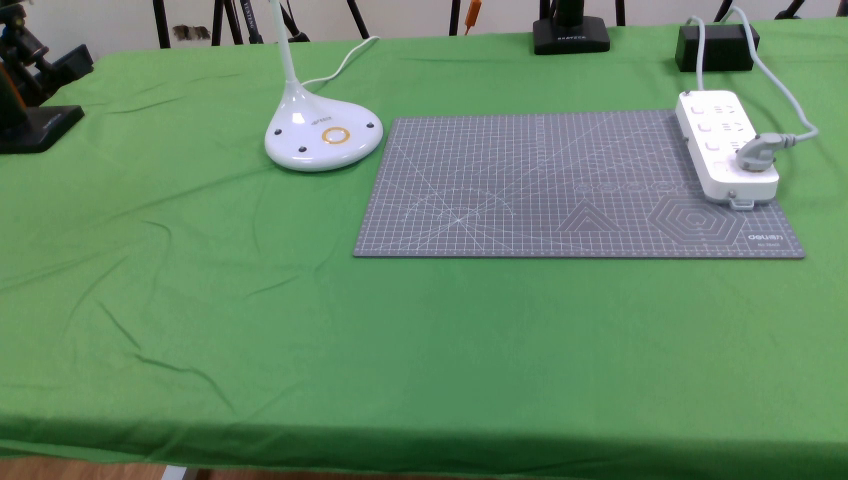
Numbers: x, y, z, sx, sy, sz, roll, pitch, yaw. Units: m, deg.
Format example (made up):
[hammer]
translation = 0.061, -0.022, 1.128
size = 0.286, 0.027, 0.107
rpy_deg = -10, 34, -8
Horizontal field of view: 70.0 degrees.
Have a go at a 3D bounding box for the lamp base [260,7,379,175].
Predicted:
[lamp base]
translation = -0.157, -0.199, 0.782
size = 0.160, 0.182, 0.177
rpy_deg = -35, 45, -30

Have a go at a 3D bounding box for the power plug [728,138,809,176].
[power plug]
translation = 0.363, -0.080, 0.643
size = 0.072, 0.053, 0.035
rpy_deg = 9, 42, 16

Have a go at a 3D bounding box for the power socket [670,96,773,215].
[power socket]
translation = 0.346, -0.110, 0.718
size = 0.072, 0.033, 0.225
rpy_deg = 2, 40, 8
